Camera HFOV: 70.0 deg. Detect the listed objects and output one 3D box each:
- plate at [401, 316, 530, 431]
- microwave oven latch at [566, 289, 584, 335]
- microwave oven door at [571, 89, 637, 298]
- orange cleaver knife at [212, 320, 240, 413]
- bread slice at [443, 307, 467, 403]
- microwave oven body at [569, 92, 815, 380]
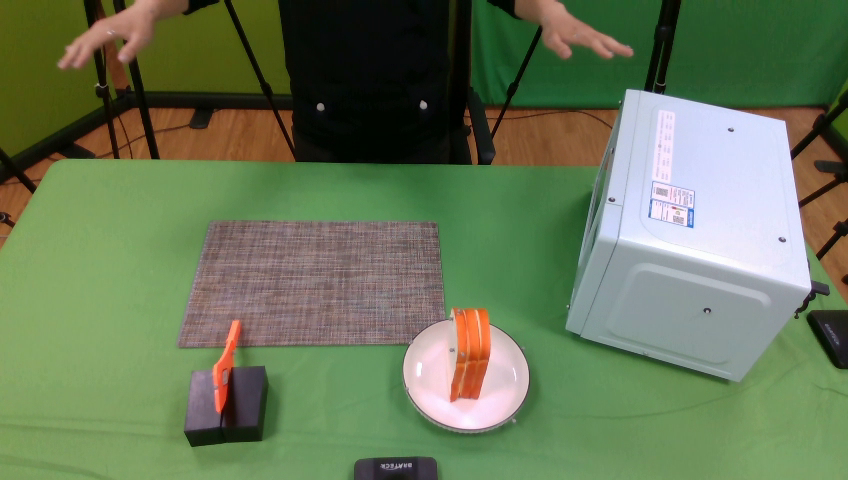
[{"bbox_3d":[0.066,0.217,0.982,0.208,0.039,0.206,2,46,-2],"label":"plate"},{"bbox_3d":[0.267,0.126,1.059,0.030,0.029,0.079,15,46,11],"label":"microwave oven latch"},{"bbox_3d":[0.343,-0.091,1.133,0.039,0.245,0.354,15,47,10],"label":"microwave oven door"},{"bbox_3d":[-0.306,0.190,0.944,0.012,0.077,0.210,-4,17,-7],"label":"orange cleaver knife"},{"bbox_3d":[0.048,0.171,0.948,0.018,0.135,0.106,0,42,-7],"label":"bread slice"},{"bbox_3d":[0.468,-0.021,1.082,0.325,0.261,0.440,15,46,11],"label":"microwave oven body"}]
